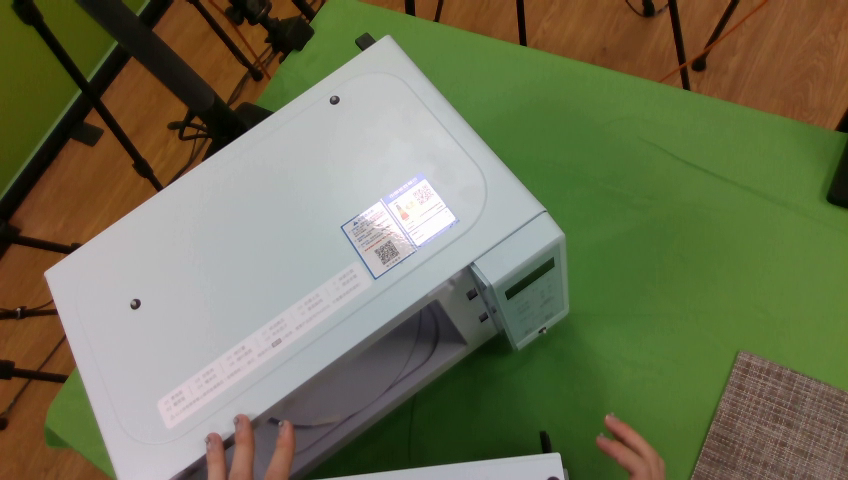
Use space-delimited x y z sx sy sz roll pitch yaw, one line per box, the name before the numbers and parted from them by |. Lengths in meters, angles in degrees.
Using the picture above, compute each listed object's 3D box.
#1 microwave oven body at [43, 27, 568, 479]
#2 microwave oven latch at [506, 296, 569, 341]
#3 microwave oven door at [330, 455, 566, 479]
microwave oven body | -0.113 0.044 0.680 0.442 0.262 0.323 -36 64 -2
microwave oven latch | 0.133 0.085 0.710 0.079 0.030 0.030 -34 64 -1
microwave oven door | -0.046 0.239 0.575 0.355 0.246 0.039 -10 66 9
